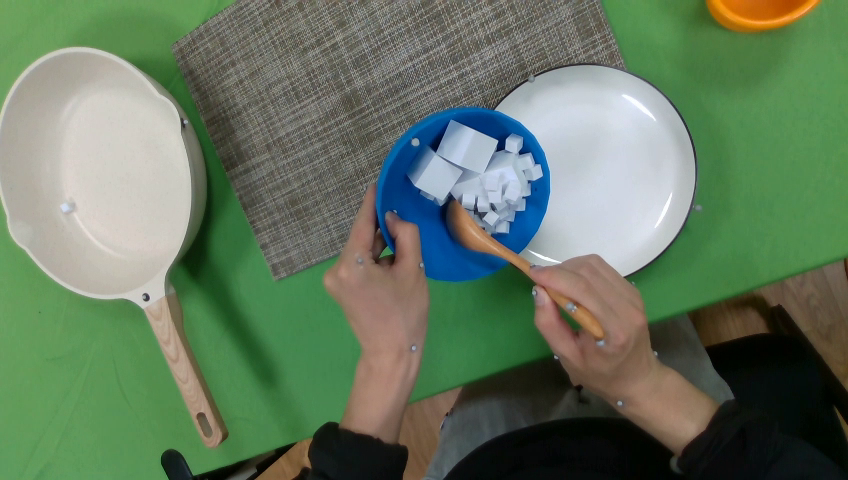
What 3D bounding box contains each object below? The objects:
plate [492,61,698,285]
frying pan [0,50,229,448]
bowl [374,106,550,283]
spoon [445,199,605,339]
[{"bbox_3d":[0.147,-0.062,0.578,0.207,0.039,0.208,4,104,17],"label":"plate"},{"bbox_3d":[-0.342,0.019,0.721,0.306,0.103,0.486,-27,83,22],"label":"frying pan"},{"bbox_3d":[0.023,-0.046,0.524,0.152,0.076,0.152,-7,115,-15],"label":"bowl"},{"bbox_3d":[0.072,0.018,0.480,0.191,0.021,0.042,37,145,42],"label":"spoon"}]
